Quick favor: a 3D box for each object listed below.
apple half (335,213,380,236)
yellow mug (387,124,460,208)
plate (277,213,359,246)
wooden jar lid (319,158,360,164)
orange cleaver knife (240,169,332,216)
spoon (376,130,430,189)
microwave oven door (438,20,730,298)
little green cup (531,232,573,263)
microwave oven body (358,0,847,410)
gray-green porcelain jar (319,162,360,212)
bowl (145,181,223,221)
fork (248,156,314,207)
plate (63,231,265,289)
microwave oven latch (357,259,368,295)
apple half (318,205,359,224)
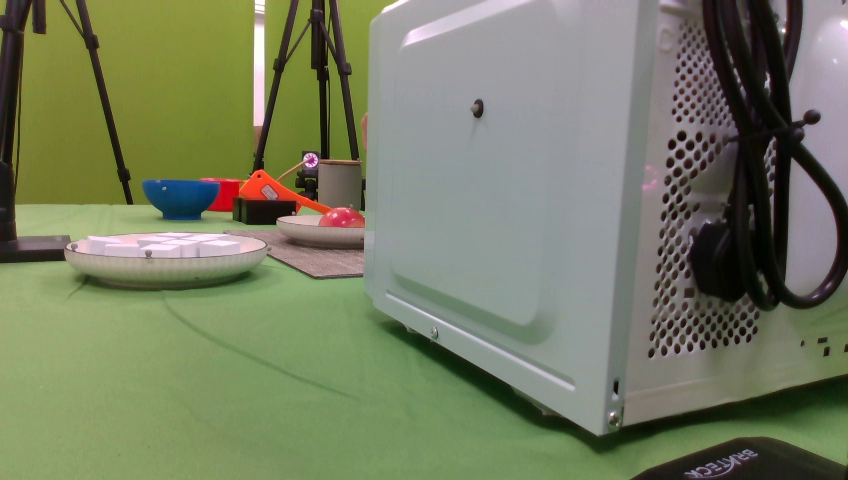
[{"bbox_3d":[-0.112,-0.029,1.034,0.081,0.033,0.081,-1,10,0],"label":"apple half"},{"bbox_3d":[0.005,-0.123,0.954,0.064,0.130,0.100,40,35,24],"label":"yellow mug"},{"bbox_3d":[-0.135,-0.018,0.993,0.209,0.038,0.209,2,7,0],"label":"plate"},{"bbox_3d":[-0.203,-0.189,1.482,0.108,0.020,0.108,2,10,0],"label":"wooden jar lid"},{"bbox_3d":[-0.286,-0.082,1.298,0.212,0.077,0.012,25,-2,-31],"label":"orange cleaver knife"},{"bbox_3d":[-0.039,-0.140,1.028,0.042,0.021,0.193,31,19,-44],"label":"spoon"},{"bbox_3d":[0.181,-0.076,0.618,0.358,0.243,0.039,-2,8,-28],"label":"microwave oven door"},{"bbox_3d":[0.185,0.010,0.880,0.061,0.038,0.061,3,6,0],"label":"little green cup"},{"bbox_3d":[0.210,-0.051,0.471,0.444,0.260,0.324,-1,7,-28],"label":"microwave oven body"},{"bbox_3d":[-0.204,-0.126,1.489,0.106,0.126,0.106,2,7,0],"label":"gray-green porcelain jar"},{"bbox_3d":[-0.499,-0.081,1.261,0.151,0.077,0.151,2,8,0],"label":"bowl"},{"bbox_3d":[-0.360,-0.147,1.523,0.207,0.018,0.028,-43,15,-6],"label":"fork"},{"bbox_3d":[-0.288,0.021,0.687,0.208,0.039,0.207,2,8,0],"label":"plate"},{"bbox_3d":[-0.019,0.031,0.529,0.079,0.029,0.030,-1,7,-26],"label":"microwave oven latch"},{"bbox_3d":[-0.126,-0.028,0.954,0.081,0.053,0.074,-2,10,-33],"label":"apple half"}]
